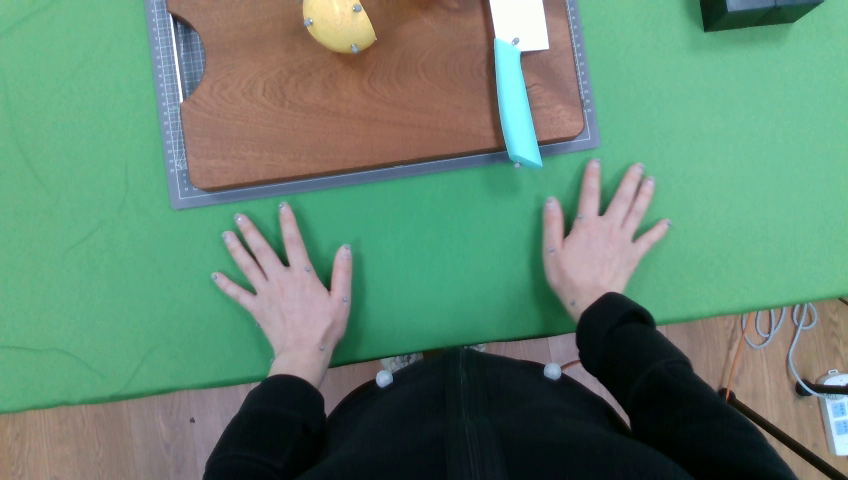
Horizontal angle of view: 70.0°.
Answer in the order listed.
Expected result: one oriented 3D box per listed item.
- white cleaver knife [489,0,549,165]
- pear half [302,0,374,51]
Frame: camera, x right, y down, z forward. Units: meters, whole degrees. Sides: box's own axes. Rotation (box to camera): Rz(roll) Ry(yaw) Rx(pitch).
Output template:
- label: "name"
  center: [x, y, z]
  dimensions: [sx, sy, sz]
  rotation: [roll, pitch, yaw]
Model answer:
- label: "white cleaver knife"
  center: [0.095, -0.216, 0.608]
  dimensions: [0.066, 0.021, 0.286]
  rotation: [-8, 88, -12]
- label: "pear half"
  center: [-0.085, -0.214, 0.558]
  dimensions: [0.056, 0.110, 0.076]
  rotation: [-39, 84, -3]
